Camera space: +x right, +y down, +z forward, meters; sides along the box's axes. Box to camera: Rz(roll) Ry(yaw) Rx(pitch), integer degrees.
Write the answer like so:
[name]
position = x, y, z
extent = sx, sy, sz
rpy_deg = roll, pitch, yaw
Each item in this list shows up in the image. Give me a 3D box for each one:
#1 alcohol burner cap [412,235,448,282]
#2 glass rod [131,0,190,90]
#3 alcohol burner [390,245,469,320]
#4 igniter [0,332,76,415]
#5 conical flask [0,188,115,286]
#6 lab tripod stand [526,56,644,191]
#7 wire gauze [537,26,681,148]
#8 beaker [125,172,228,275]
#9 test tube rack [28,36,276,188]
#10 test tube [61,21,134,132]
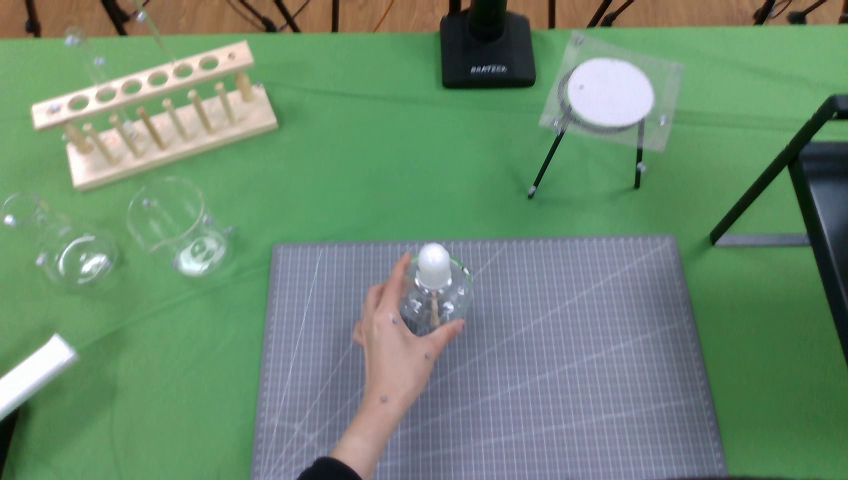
[alcohol burner cap]
position = 0.005, 0.014, 0.545
extent = 0.034, 0.048, 0.033
rpy_deg = 0, 62, 0
[glass rod]
position = -0.285, -0.210, 0.659
extent = 0.008, 0.201, 0.008
rpy_deg = -3, 58, 6
[alcohol burner]
position = 0.006, 0.032, 0.577
extent = 0.078, 0.120, 0.077
rpy_deg = 1, 62, -1
[igniter]
position = -0.435, 0.186, 0.526
extent = 0.057, 0.025, 0.276
rpy_deg = 40, 68, 15
[conical flask]
position = -0.378, -0.007, 0.616
extent = 0.075, 0.123, 0.074
rpy_deg = 0, 64, 1
[lab tripod stand]
position = 0.180, -0.122, 0.664
extent = 0.148, 0.132, 0.147
rpy_deg = 1, 63, -1
[wire gauze]
position = 0.187, -0.153, 0.604
extent = 0.121, 0.011, 0.124
rpy_deg = 19, 67, 7
[beaker]
position = -0.253, -0.009, 0.631
extent = 0.074, 0.101, 0.083
rpy_deg = 12, 66, 7
[test tube rack]
position = -0.307, -0.148, 0.703
extent = 0.242, 0.086, 0.066
rpy_deg = -21, 66, -9
[test tube]
position = -0.351, -0.172, 0.660
extent = 0.017, 0.151, 0.017
rpy_deg = 1, 58, 0
